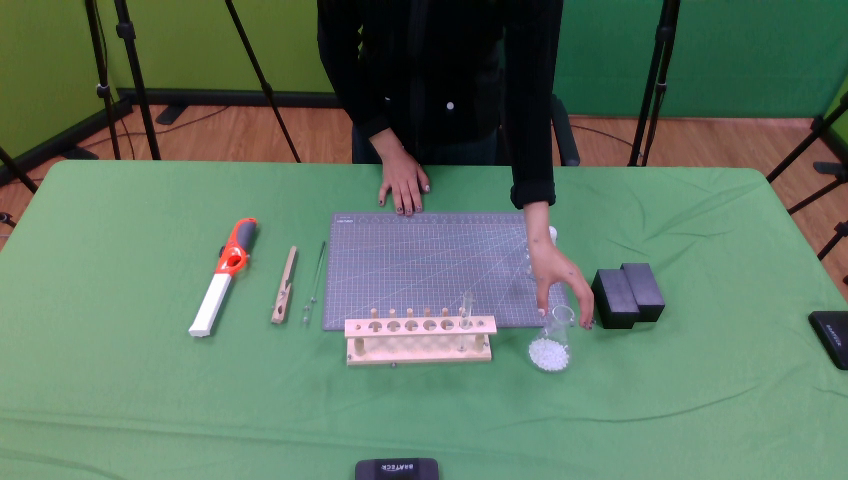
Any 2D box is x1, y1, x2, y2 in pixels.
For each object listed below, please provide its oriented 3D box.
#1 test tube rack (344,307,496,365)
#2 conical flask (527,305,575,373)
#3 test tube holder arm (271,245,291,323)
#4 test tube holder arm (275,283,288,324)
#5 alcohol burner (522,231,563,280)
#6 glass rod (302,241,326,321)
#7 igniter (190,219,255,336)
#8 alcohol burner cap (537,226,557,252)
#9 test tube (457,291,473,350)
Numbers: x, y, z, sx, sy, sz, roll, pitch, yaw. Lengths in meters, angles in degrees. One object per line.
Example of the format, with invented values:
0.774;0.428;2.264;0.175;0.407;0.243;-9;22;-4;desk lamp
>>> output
-0.009;0.154;1.007;0.242;0.085;0.066;-1;46;-5;test tube rack
0.215;0.157;0.996;0.075;0.122;0.075;2;46;-2;conical flask
-0.260;0.076;1.106;0.013;0.015;0.177;29;38;-30;test tube holder arm
-0.254;0.110;1.077;0.010;0.015;0.087;31;37;-28;test tube holder arm
0.224;0.020;1.131;0.078;0.119;0.077;4;46;-4;alcohol burner
-0.203;0.071;1.124;0.008;0.008;0.198;5;44;1;glass rod
-0.365;0.058;1.110;0.057;0.025;0.275;-1;45;8;igniter
0.226;-0.004;1.104;0.034;0.048;0.033;0;50;1;alcohol burner cap
0.065;0.132;0.964;0.017;0.151;0.017;1;48;-1;test tube
